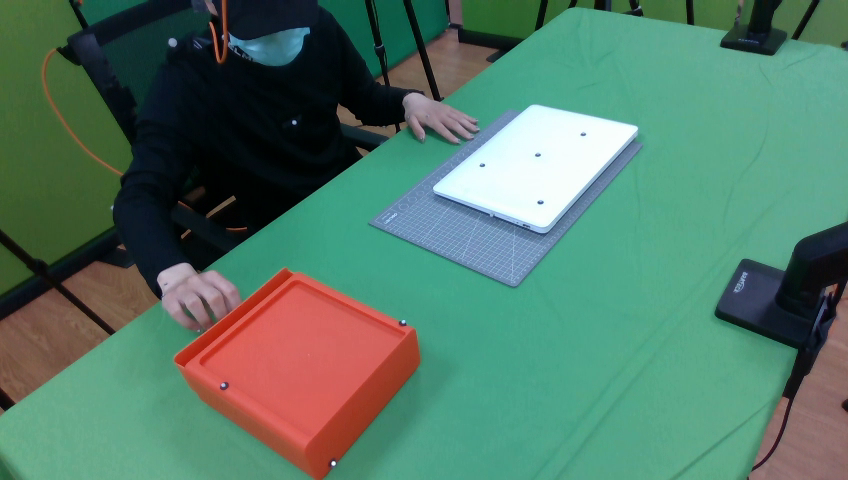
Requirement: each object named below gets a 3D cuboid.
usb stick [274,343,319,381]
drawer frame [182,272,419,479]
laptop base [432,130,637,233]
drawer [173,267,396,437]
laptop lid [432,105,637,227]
[{"bbox_3d":[-0.169,0.161,0.791,0.059,0.027,0.021,-29,44,-24],"label":"usb stick"},{"bbox_3d":[-0.150,0.156,0.763,0.212,0.083,0.202,21,47,29],"label":"drawer frame"},{"bbox_3d":[0.210,-0.142,1.111,0.233,0.023,0.355,21,47,34],"label":"laptop base"},{"bbox_3d":[-0.171,0.149,0.777,0.210,0.073,0.195,22,47,29],"label":"drawer"},{"bbox_3d":[0.207,-0.152,1.105,0.239,0.013,0.358,23,49,34],"label":"laptop lid"}]
